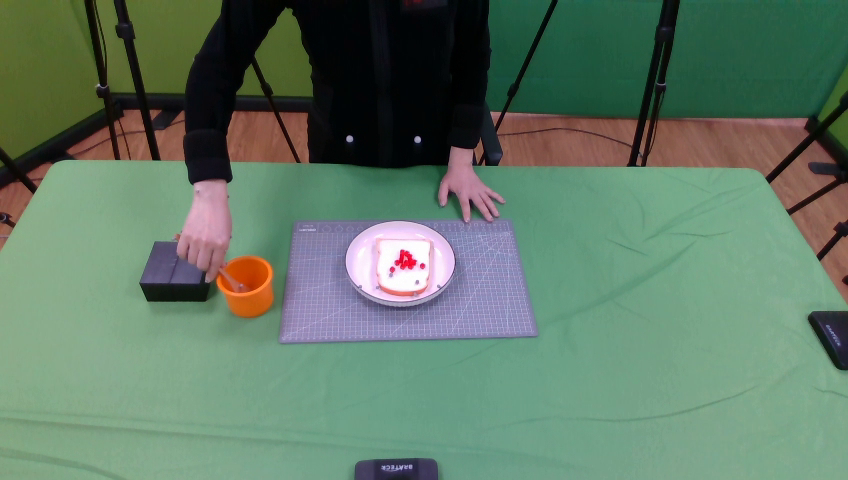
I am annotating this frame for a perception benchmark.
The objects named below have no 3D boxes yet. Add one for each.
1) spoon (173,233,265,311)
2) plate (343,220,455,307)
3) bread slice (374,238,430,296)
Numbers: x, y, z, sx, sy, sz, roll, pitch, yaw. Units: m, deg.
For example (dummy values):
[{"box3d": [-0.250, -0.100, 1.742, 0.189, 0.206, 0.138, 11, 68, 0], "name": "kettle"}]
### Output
[{"box3d": [-0.346, 0.054, 1.028, 0.021, 0.194, 0.041, -24, 29, 34], "name": "spoon"}, {"box3d": [-0.047, 0.046, 1.135, 0.209, 0.038, 0.208, 2, 46, -2], "name": "plate"}, {"box3d": [-0.039, 0.048, 1.135, 0.107, 0.018, 0.133, -1, 47, -4], "name": "bread slice"}]
